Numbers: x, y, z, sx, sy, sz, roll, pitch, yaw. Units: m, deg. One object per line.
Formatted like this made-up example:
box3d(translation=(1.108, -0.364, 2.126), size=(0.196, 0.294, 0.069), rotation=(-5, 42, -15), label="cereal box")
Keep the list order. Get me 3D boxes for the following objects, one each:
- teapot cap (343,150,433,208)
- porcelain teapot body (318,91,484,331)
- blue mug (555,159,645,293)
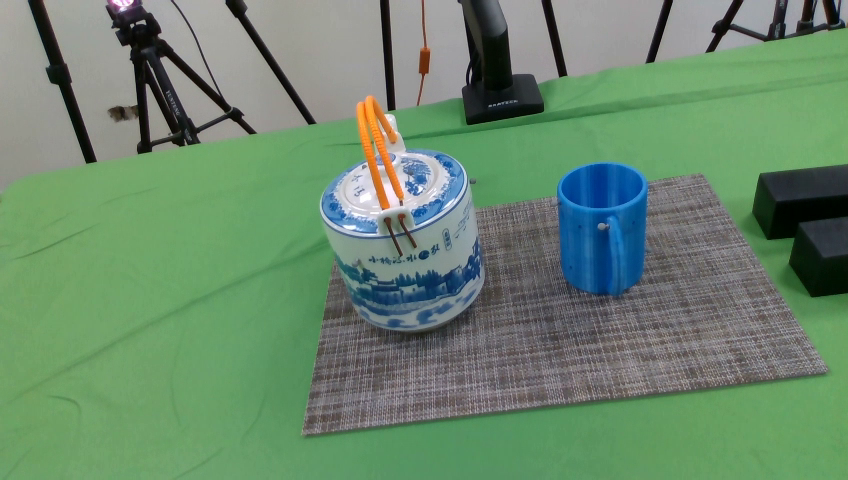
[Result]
box3d(translation=(-0.034, -0.060, 0.559), size=(0.085, 0.044, 0.084), rotation=(-5, 38, 5), label="teapot cap")
box3d(translation=(-0.029, -0.047, 0.605), size=(0.145, 0.227, 0.203), rotation=(-13, 38, 1), label="porcelain teapot body")
box3d(translation=(0.175, -0.005, 0.589), size=(0.082, 0.107, 0.115), rotation=(-9, 39, 6), label="blue mug")
